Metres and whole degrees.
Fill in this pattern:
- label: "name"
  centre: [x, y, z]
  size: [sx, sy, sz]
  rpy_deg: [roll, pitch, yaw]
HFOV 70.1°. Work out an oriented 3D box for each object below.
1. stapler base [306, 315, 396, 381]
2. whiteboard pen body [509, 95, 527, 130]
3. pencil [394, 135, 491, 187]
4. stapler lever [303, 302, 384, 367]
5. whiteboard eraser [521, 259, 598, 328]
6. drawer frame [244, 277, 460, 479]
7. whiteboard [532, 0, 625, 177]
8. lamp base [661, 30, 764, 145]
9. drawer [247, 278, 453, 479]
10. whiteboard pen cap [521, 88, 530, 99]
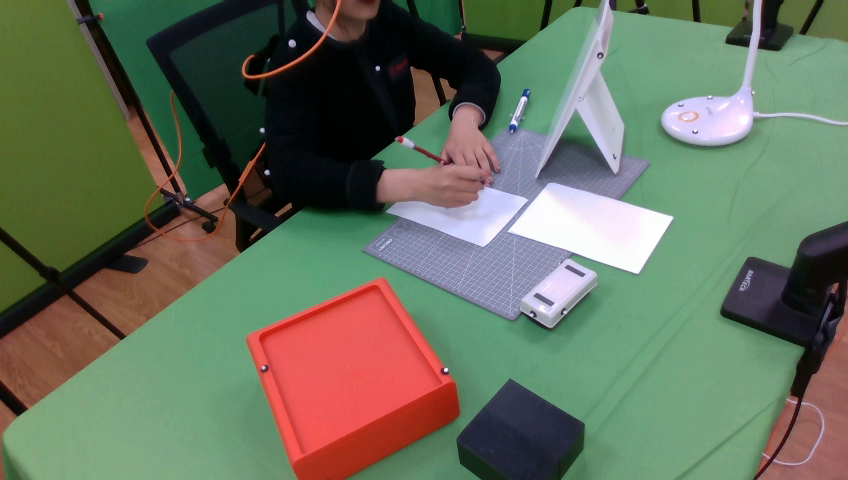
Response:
- label: "stapler base"
  centre: [-0.101, 0.138, 0.819]
  size: [0.131, 0.024, 0.041]
  rpy_deg: [-31, 37, -13]
- label: "whiteboard pen body"
  centre: [0.199, -0.273, 1.262]
  size: [0.017, 0.017, 0.140]
  rpy_deg: [8, 44, 19]
- label: "pencil"
  centre: [0.034, -0.126, 0.989]
  size: [0.195, 0.012, 0.012]
  rpy_deg: [24, 32, -26]
- label: "stapler lever"
  centre: [-0.108, 0.123, 0.805]
  size: [0.118, 0.040, 0.026]
  rpy_deg: [-27, 36, -15]
- label: "whiteboard eraser"
  centre: [0.189, 0.076, 0.843]
  size: [0.055, 0.042, 0.113]
  rpy_deg: [29, 53, 37]
- label: "drawer frame"
  centre: [-0.093, 0.167, 0.755]
  size: [0.202, 0.083, 0.211]
  rpy_deg: [-23, 43, -17]
- label: "whiteboard"
  centre: [0.321, -0.258, 1.050]
  size: [0.144, 0.306, 0.217]
  rpy_deg: [21, 45, 5]
- label: "lamp base"
  centre: [0.535, -0.287, 1.096]
  size: [0.179, 0.181, 0.159]
  rpy_deg: [-10, 40, -4]
- label: "drawer"
  centre: [-0.096, 0.167, 0.758]
  size: [0.195, 0.073, 0.210]
  rpy_deg: [-22, 43, -16]
- label: "whiteboard pen cap"
  centre: [0.218, -0.312, 1.301]
  size: [0.018, 0.018, 0.033]
  rpy_deg: [6, 46, 17]
